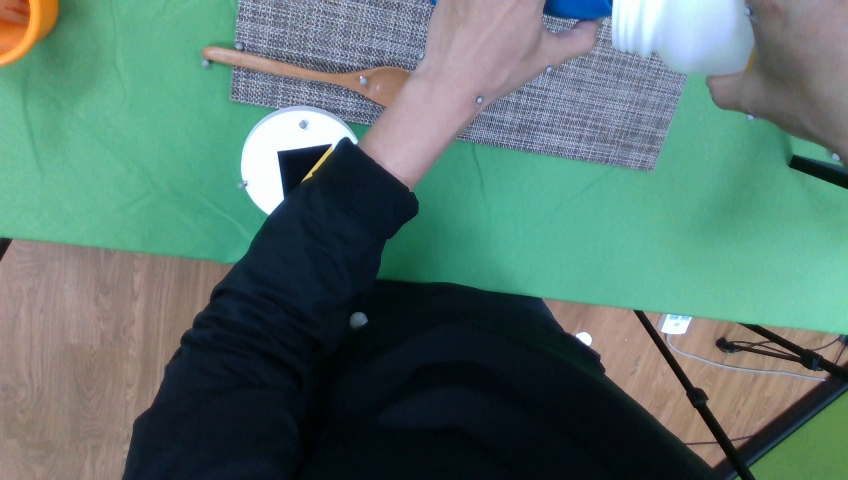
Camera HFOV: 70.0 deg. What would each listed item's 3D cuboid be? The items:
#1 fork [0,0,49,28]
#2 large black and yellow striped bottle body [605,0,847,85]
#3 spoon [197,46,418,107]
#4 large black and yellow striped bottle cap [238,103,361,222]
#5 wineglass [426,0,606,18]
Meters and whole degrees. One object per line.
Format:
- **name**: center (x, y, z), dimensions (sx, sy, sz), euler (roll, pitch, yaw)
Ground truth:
- **fork**: center (-0.352, -0.175, 0.390), dimensions (0.028, 0.018, 0.208), euler (-57, 158, 19)
- **large black and yellow striped bottle body**: center (0.205, -0.159, 0.342), dimensions (0.183, 0.130, 0.131), euler (11, 116, 20)
- **spoon**: center (-0.099, -0.150, 0.538), dimensions (0.194, 0.021, 0.042), euler (5, 135, -18)
- **large black and yellow striped bottle cap**: center (-0.117, -0.071, 0.578), dimensions (0.115, 0.018, 0.116), euler (-7, 120, -12)
- **wineglass**: center (0.075, -0.209, 0.462), dimensions (0.074, 0.170, 0.074), euler (-19, 119, -38)
